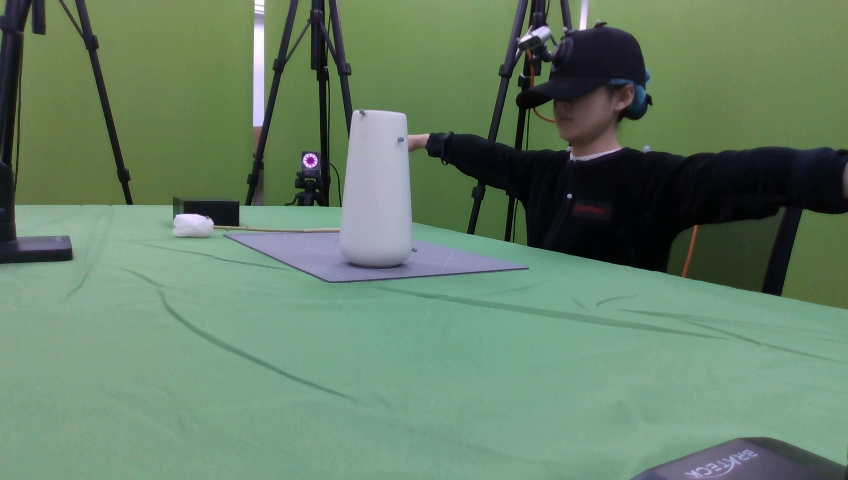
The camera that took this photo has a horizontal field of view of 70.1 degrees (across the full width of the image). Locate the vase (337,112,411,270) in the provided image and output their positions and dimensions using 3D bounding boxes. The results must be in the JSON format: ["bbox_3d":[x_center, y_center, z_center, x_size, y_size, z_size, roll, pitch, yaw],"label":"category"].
[{"bbox_3d":[-0.064,-0.064,0.790,0.098,0.200,0.098,2,7,0],"label":"vase"}]

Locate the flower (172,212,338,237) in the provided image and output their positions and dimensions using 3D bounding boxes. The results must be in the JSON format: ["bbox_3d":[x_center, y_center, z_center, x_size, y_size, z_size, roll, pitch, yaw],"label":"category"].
[{"bbox_3d":[-0.254,-0.017,1.079,0.364,0.038,0.044,4,38,-31],"label":"flower"}]
